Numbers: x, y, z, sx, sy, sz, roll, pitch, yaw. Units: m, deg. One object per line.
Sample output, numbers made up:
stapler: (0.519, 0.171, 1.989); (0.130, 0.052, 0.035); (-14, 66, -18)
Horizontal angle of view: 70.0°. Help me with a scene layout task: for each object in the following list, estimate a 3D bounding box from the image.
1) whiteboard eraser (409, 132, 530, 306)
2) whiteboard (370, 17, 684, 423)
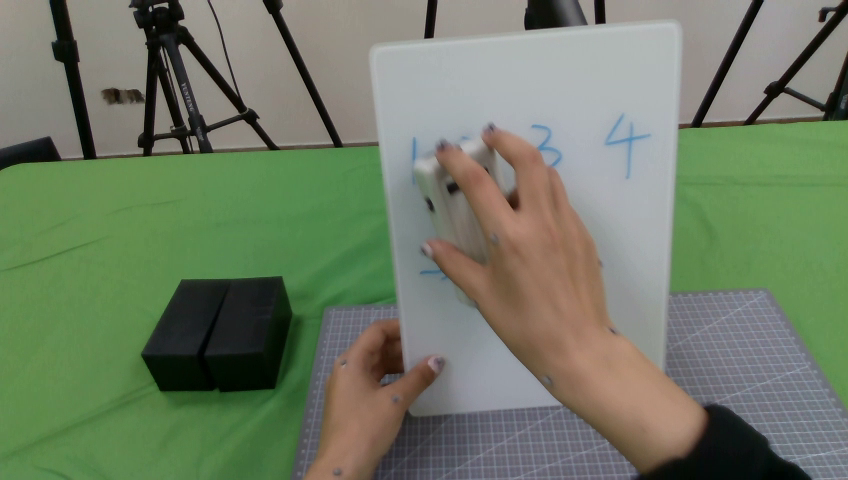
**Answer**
whiteboard eraser: (0.033, -0.014, 0.423); (0.055, 0.113, 0.041); (-26, 21, -15)
whiteboard: (0.082, -0.020, 0.524); (0.217, 0.307, 0.143); (-4, 19, 1)
